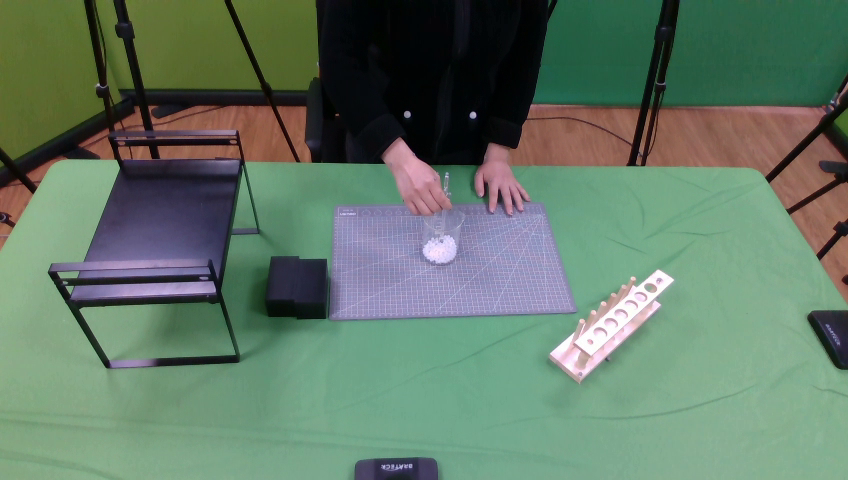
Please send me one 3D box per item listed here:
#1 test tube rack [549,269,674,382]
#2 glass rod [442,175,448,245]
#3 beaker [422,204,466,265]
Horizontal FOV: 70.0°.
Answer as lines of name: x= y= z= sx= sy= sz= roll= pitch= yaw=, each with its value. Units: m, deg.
test tube rack: x=0.325 y=0.134 z=1.047 sx=0.242 sy=0.085 sz=0.066 roll=-32 pitch=56 yaw=-30
glass rod: x=0.038 y=-0.050 z=1.118 sx=0.008 sy=0.201 sz=0.008 roll=0 pitch=53 yaw=0
beaker: x=0.035 y=-0.008 z=1.151 sx=0.084 sy=0.101 sz=0.073 roll=-9 pitch=48 yaw=-13
